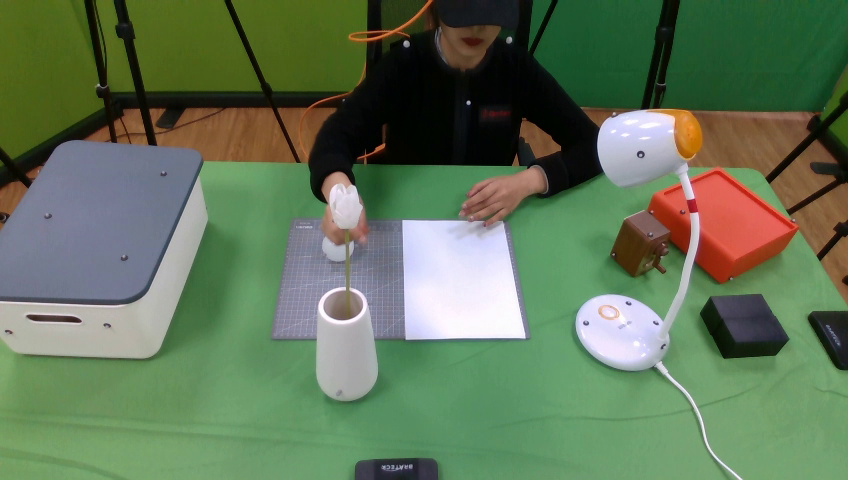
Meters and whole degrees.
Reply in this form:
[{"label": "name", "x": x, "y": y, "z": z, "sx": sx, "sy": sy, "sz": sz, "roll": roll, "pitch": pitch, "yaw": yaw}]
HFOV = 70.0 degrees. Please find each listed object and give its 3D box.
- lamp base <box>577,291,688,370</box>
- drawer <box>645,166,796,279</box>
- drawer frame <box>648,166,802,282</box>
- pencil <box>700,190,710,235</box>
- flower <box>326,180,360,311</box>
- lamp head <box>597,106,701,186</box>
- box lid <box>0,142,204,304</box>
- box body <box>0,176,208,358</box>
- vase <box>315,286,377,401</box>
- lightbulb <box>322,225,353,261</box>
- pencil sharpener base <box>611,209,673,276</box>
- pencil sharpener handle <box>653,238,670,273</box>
[{"label": "lamp base", "x": 0.361, "y": 0.110, "z": 1.003, "sx": 0.160, "sy": 0.181, "sz": 0.178, "roll": -31, "pitch": 57, "yaw": -29}, {"label": "drawer", "x": 0.600, "y": -0.041, "z": 1.236, "sx": 0.195, "sy": 0.073, "sz": 0.210, "roll": -21, "pitch": 52, "yaw": -23}, {"label": "drawer frame", "x": 0.603, "y": -0.040, "z": 1.233, "sx": 0.202, "sy": 0.083, "sz": 0.212, "roll": -21, "pitch": 51, "yaw": -23}, {"label": "pencil", "x": 0.584, "y": -0.058, "z": 1.256, "sx": 0.012, "sy": 0.012, "sz": 0.193, "roll": 16, "pitch": 35, "yaw": 12}, {"label": "flower", "x": -0.110, "y": 0.086, "z": 0.867, "sx": 0.044, "sy": 0.363, "sz": 0.038, "roll": 25, "pitch": 36, "yaw": 38}, {"label": "lamp head", "x": 0.329, "y": -0.138, "z": 0.865, "sx": 0.112, "sy": 0.113, "sz": 0.122, "roll": -36, "pitch": 20, "yaw": -32}, {"label": "box lid", "x": -0.533, "y": -0.044, "z": 0.994, "sx": 0.263, "sy": 0.015, "sz": 0.369, "roll": 3, "pitch": 45, "yaw": -3}, {"label": "box body", "x": -0.546, "y": 0.017, "z": 1.045, "sx": 0.254, "sy": 0.161, "sz": 0.361, "roll": 2, "pitch": 46, "yaw": -2}, {"label": "vase", "x": -0.119, "y": 0.159, "z": 0.911, "sx": 0.098, "sy": 0.201, "sz": 0.097, "roll": 2, "pitch": 47, "yaw": -2}, {"label": "lightbulb", "x": -0.163, "y": -0.001, "z": 1.164, "sx": 0.059, "sy": 0.060, "sz": 0.107, "roll": 4, "pitch": 30, "yaw": 0}, {"label": "pencil sharpener base", "x": 0.416, "y": 0.007, "z": 1.158, "sx": 0.061, "sy": 0.107, "sz": 0.076, "roll": -21, "pitch": 51, "yaw": -22}, {"label": "pencil sharpener handle", "x": 0.444, "y": 0.030, "z": 1.120, "sx": 0.036, "sy": 0.068, "sz": 0.030, "roll": -25, "pitch": 52, "yaw": -18}]
